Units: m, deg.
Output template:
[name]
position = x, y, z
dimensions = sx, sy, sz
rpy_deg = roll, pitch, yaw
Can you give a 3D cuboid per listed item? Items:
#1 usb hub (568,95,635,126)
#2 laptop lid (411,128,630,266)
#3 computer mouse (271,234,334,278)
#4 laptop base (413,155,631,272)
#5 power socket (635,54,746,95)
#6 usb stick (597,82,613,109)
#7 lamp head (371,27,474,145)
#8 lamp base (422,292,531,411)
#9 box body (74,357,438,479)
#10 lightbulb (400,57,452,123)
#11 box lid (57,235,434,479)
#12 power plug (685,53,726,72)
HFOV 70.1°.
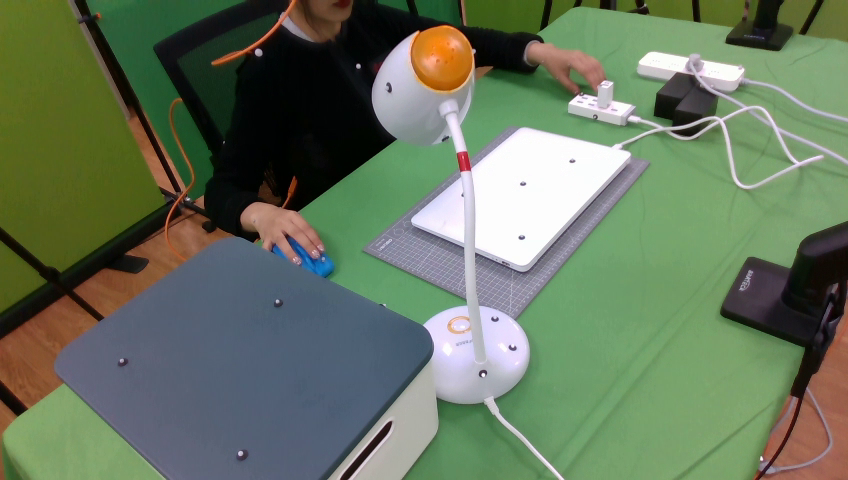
[usb hub]
position = 0.360, -0.263, 1.228
dimensions = 0.124, 0.025, 0.049
rpy_deg = 24, 49, 33
[laptop lid]
position = 0.172, -0.093, 1.049
dimensions = 0.239, 0.013, 0.358
rpy_deg = 23, 50, 36
[computer mouse]
position = -0.199, 0.029, 0.982
dimensions = 0.063, 0.041, 0.116
rpy_deg = -32, 47, -26
[laptop base]
position = 0.176, -0.084, 1.055
dimensions = 0.233, 0.023, 0.355
rpy_deg = 21, 48, 36
[power socket]
position = 0.564, -0.357, 1.293
dimensions = 0.225, 0.033, 0.072
rpy_deg = 24, 51, 33
[usb stick]
position = 0.360, -0.281, 1.204
dimensions = 0.021, 0.059, 0.027
rpy_deg = 23, 49, 33
[lamp head]
position = 0.007, -0.167, 0.644
dimensions = 0.113, 0.112, 0.122
rpy_deg = -22, 2, -14
[lamp base]
position = 0.055, 0.095, 0.740
dimensions = 0.161, 0.181, 0.177
rpy_deg = -19, 43, -11
[box body]
position = -0.189, 0.179, 0.702
dimensions = 0.361, 0.161, 0.255
rpy_deg = 22, 49, 32
[lightbulb]
position = 0.003, -0.169, 0.668
dimensions = 0.059, 0.108, 0.059
rpy_deg = 0, 79, -2
[box lid]
position = -0.198, 0.123, 0.653
dimensions = 0.368, 0.015, 0.264
rpy_deg = 22, 49, 32
[power plug]
position = 0.584, -0.361, 1.260
dimensions = 0.072, 0.053, 0.035
rpy_deg = 14, 55, 16
